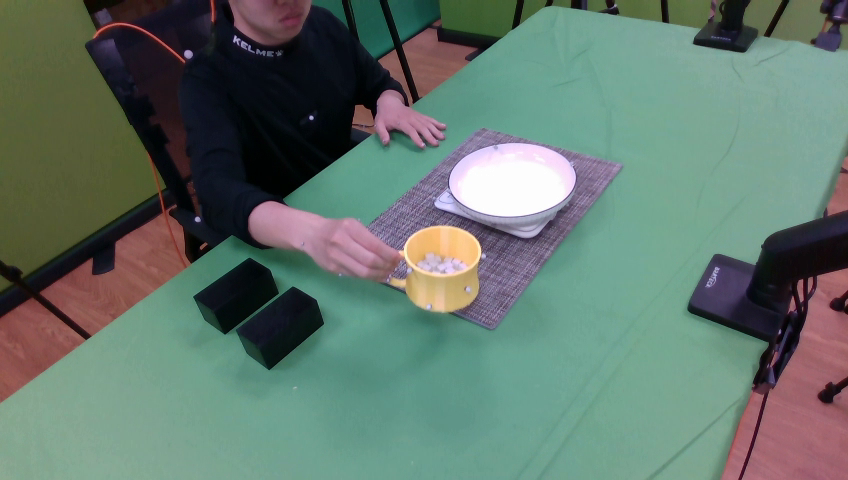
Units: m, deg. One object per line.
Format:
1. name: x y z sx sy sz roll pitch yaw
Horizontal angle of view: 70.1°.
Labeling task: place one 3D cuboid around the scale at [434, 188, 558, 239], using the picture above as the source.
1. scale: 0.132 -0.075 1.025 0.199 0.032 0.149 22 48 30

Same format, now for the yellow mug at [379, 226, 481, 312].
1. yellow mug: 0.008 0.037 0.782 0.131 0.064 0.099 -2 40 -2

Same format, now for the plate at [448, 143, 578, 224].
1. plate: 0.145 -0.089 0.989 0.209 0.038 0.208 -4 41 4
